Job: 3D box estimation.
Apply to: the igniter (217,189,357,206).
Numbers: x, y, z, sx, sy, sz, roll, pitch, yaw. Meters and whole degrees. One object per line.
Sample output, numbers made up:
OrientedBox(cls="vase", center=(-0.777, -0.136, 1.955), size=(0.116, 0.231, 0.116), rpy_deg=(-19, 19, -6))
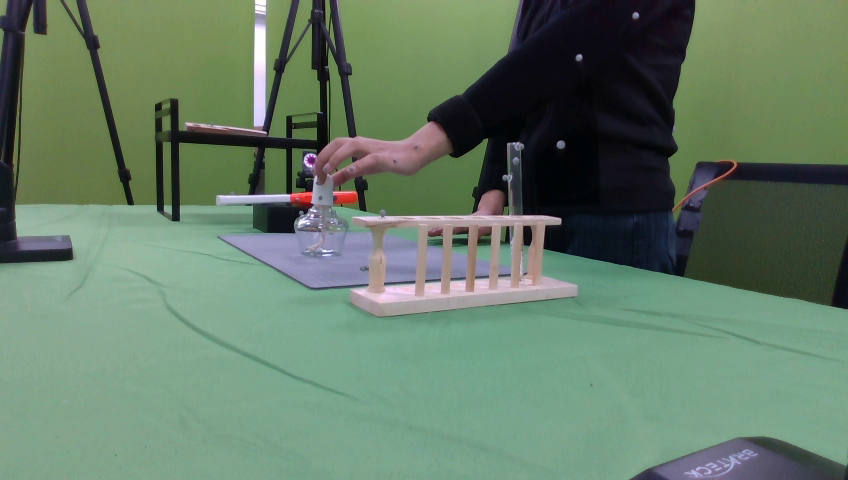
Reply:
OrientedBox(cls="igniter", center=(-0.251, -0.081, 1.155), size=(0.278, 0.025, 0.057), rpy_deg=(-5, 8, -32))

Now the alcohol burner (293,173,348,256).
OrientedBox(cls="alcohol burner", center=(-0.146, -0.036, 0.859), size=(0.078, 0.119, 0.078), rpy_deg=(5, 8, 0))

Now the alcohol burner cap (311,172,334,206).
OrientedBox(cls="alcohol burner cap", center=(-0.143, -0.072, 0.854), size=(0.034, 0.048, 0.034), rpy_deg=(3, 11, 0))

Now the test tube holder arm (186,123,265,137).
OrientedBox(cls="test tube holder arm", center=(-0.434, -0.242, 1.334), size=(0.179, 0.015, 0.013), rpy_deg=(-4, 49, -43))

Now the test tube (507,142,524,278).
OrientedBox(cls="test tube", center=(0.101, -0.032, 0.666), size=(0.017, 0.150, 0.017), rpy_deg=(-3, 6, 1))

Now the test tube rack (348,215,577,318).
OrientedBox(cls="test tube rack", center=(0.048, 0.021, 0.619), size=(0.244, 0.085, 0.066), rpy_deg=(-2, 8, -31))

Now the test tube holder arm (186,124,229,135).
OrientedBox(cls="test tube holder arm", center=(-0.465, -0.236, 1.300), size=(0.088, 0.015, 0.010), rpy_deg=(-2, 48, -42))
